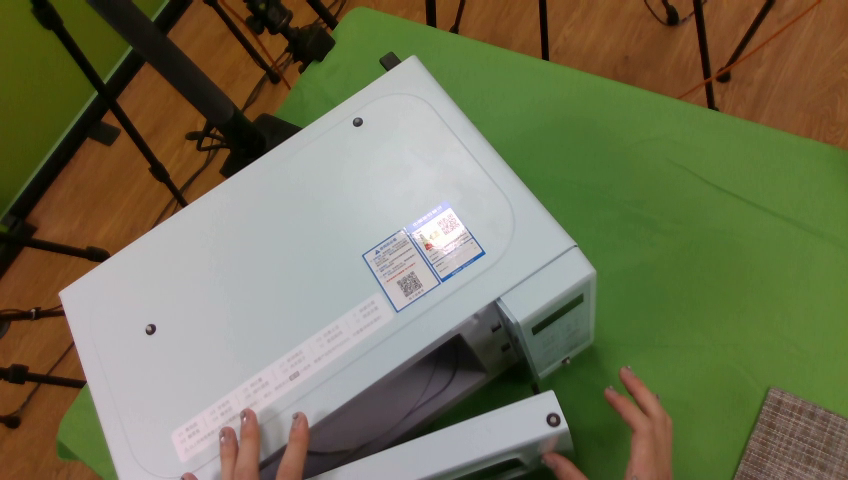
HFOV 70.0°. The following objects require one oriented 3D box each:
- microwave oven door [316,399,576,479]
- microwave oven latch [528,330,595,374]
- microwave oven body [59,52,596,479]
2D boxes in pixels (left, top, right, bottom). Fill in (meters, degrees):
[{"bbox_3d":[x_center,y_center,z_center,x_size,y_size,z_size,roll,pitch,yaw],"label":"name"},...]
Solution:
[{"bbox_3d":[-0.034,0.236,0.573,0.356,0.246,0.039,-21,62,5],"label":"microwave oven door"},{"bbox_3d":[0.156,0.119,0.688,0.079,0.030,0.030,-33,63,0],"label":"microwave oven latch"},{"bbox_3d":[-0.090,0.074,0.663,0.442,0.262,0.323,-35,63,-1],"label":"microwave oven body"}]
